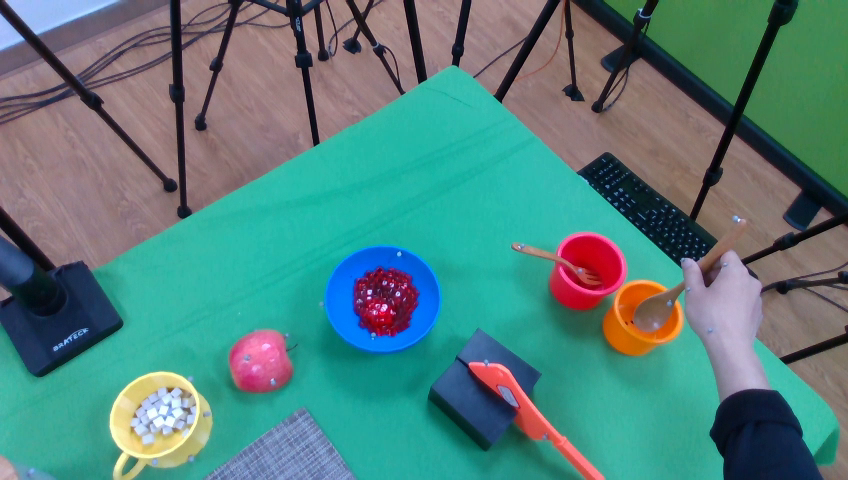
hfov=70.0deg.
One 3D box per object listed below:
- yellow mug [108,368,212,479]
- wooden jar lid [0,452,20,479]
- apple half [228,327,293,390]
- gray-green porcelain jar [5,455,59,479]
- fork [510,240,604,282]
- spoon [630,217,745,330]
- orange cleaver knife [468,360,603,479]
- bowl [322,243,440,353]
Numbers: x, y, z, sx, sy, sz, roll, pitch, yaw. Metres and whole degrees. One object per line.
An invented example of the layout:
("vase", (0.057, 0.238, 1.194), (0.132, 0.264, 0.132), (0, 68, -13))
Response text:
("yellow mug", (-0.317, 0.222, 0.711), (0.099, 0.064, 0.130), (26, 63, 9))
("wooden jar lid", (-0.440, 0.253, 0.575), (0.108, 0.021, 0.107), (2, 60, -3))
("apple half", (-0.211, 0.147, 0.770), (0.075, 0.054, 0.080), (-14, 64, -10))
("gray-green porcelain jar", (-0.445, 0.284, 0.629), (0.106, 0.127, 0.105), (2, 61, -4))
("fork", (0.183, 0.028, 0.819), (0.209, 0.018, 0.028), (20, 49, -43))
("spoon", (0.312, 0.044, 0.719), (0.041, 0.194, 0.021), (33, 42, 4))
("orange cleaver knife", (0.134, 0.223, 0.745), (0.211, 0.077, 0.012), (48, 58, -4))
("bowl", (-0.057, 0.087, 0.803), (0.151, 0.077, 0.150), (3, 62, -4))
